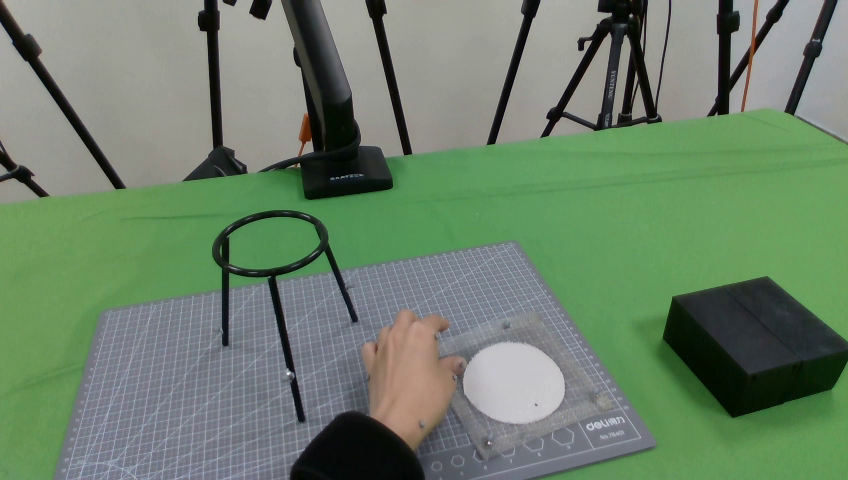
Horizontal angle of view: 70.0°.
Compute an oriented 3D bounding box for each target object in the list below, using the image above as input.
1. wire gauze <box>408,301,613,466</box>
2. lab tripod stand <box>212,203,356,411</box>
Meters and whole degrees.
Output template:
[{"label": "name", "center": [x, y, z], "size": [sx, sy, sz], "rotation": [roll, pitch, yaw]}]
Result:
[{"label": "wire gauze", "center": [0.072, 0.109, 0.503], "size": [0.121, 0.011, 0.124], "rotation": [-29, 53, -34]}, {"label": "lab tripod stand", "center": [-0.118, 0.049, 0.515], "size": [0.148, 0.132, 0.147], "rotation": [1, 35, 0]}]
